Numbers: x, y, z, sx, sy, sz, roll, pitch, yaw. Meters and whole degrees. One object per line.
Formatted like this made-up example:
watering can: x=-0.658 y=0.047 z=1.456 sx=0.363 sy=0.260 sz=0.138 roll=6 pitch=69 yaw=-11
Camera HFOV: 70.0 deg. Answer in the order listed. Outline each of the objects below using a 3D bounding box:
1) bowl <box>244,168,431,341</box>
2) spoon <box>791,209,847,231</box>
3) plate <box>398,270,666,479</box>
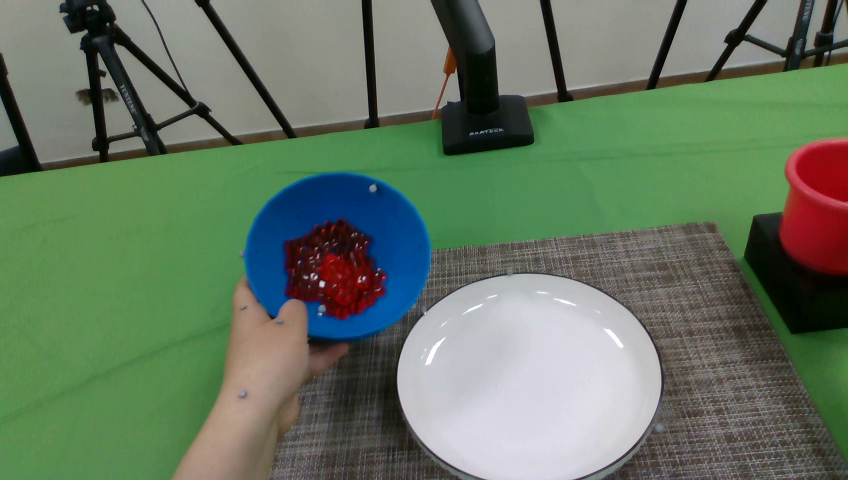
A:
bowl: x=-0.072 y=0.022 z=0.523 sx=0.151 sy=0.077 sz=0.150 roll=2 pitch=65 yaw=-4
spoon: x=0.332 y=-0.030 z=0.423 sx=0.041 sy=0.194 sz=0.021 roll=-19 pitch=81 yaw=-8
plate: x=0.084 y=0.108 z=0.491 sx=0.207 sy=0.039 sz=0.205 roll=-6 pitch=40 yaw=6
